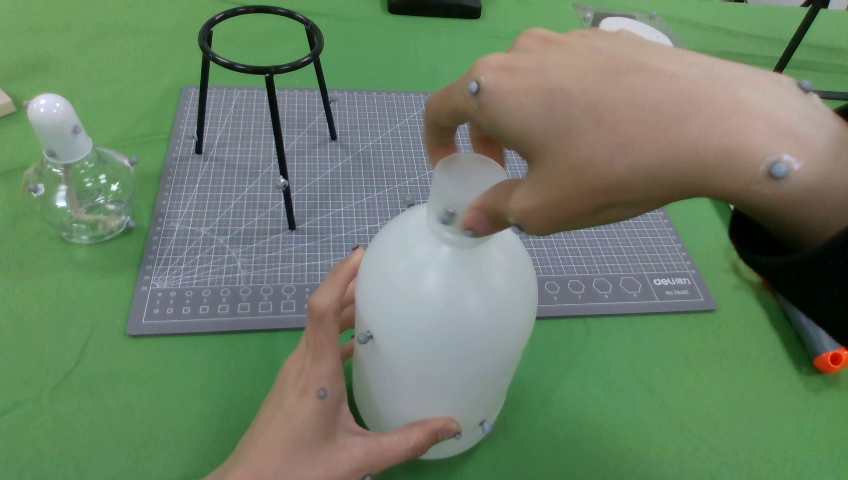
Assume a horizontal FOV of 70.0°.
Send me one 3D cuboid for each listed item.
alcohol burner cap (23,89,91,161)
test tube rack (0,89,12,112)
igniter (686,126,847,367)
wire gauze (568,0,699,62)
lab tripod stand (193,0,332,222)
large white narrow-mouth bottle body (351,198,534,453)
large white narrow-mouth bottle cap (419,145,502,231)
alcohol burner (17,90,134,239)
[{"bbox_3d":[-0.253,-0.081,0.414,0.034,0.048,0.033,4,54,-5],"label":"alcohol burner cap"},{"bbox_3d":[-0.478,-0.108,0.470,0.066,0.086,0.242,37,53,22],"label":"test tube rack"},{"bbox_3d":[0.301,-0.008,0.543,0.057,0.025,0.273,8,47,-16],"label":"igniter"},{"bbox_3d":[0.232,-0.235,0.684,0.122,0.011,0.123,1,49,-10],"label":"wire gauze"},{"bbox_3d":[-0.126,-0.109,0.491,0.149,0.132,0.147,6,48,-6],"label":"lab tripod stand"},{"bbox_3d":[0.009,0.038,0.344,0.102,0.196,0.101,4,48,-4],"label":"large white narrow-mouth bottle body"},{"bbox_3d":[0.017,-0.024,0.277,0.038,0.024,0.037,4,48,-4],"label":"large white narrow-mouth bottle cap"},{"bbox_3d":[-0.257,-0.058,0.442,0.078,0.120,0.077,6,46,-5],"label":"alcohol burner"}]
